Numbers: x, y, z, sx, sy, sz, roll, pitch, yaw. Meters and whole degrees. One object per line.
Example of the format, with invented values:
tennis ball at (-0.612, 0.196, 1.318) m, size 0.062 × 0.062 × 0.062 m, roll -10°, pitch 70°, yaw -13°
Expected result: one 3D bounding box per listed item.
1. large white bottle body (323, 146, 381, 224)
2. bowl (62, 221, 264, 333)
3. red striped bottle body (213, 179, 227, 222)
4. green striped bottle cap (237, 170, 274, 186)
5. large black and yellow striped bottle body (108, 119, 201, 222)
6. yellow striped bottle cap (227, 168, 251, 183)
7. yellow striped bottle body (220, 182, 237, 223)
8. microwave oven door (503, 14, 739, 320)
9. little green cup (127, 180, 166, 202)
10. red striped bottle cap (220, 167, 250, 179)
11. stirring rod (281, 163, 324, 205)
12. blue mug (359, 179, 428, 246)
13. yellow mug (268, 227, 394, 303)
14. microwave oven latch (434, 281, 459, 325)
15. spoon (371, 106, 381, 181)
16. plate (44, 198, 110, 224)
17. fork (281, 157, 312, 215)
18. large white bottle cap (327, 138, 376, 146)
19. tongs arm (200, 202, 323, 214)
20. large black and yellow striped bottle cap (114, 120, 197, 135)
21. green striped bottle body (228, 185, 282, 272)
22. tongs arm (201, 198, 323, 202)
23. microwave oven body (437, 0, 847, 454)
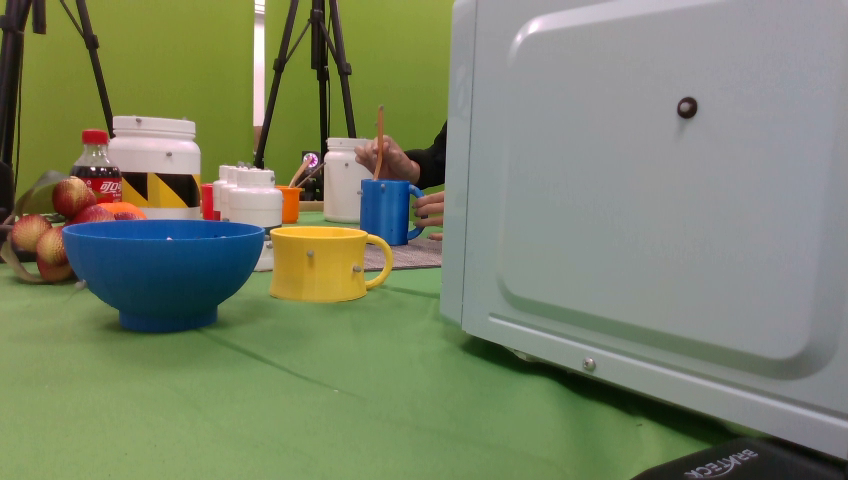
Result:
large white bottle body at (-0.163, -0.134, 1.369) m, size 0.131 × 0.184 × 0.130 m, roll 2°, pitch 8°, yaw 0°
bowl at (-0.209, 0.029, 0.496) m, size 0.151 × 0.077 × 0.151 m, roll 2°, pitch 7°, yaw 0°
red striped bottle body at (-0.284, -0.048, 0.909) m, size 0.063 × 0.119 × 0.063 m, roll 3°, pitch 10°, yaw 0°
green striped bottle cap at (-0.205, -0.075, 0.737) m, size 0.044 × 0.020 × 0.044 m, roll 1°, pitch 6°, yaw 0°
large black and yellow striped bottle body at (-0.412, -0.088, 0.930) m, size 0.131 × 0.184 × 0.130 m, roll 3°, pitch 7°, yaw 0°
yellow striped bottle cap at (-0.243, -0.087, 0.818) m, size 0.044 × 0.018 × 0.044 m, roll 3°, pitch 6°, yaw 0°
yellow striped bottle body at (-0.246, -0.036, 0.825) m, size 0.063 × 0.120 × 0.063 m, roll 3°, pitch 8°, yaw 0°
microwave oven door at (0.217, -0.065, 0.600) m, size 0.358 × 0.243 × 0.039 m, roll -4°, pitch 10°, yaw -41°
little green cup at (-0.485, -0.087, 1.062) m, size 0.061 × 0.038 × 0.061 m, roll 0°, pitch 7°, yaw 0°
red striped bottle cap at (-0.281, -0.100, 0.901) m, size 0.044 × 0.017 × 0.044 m, roll 0°, pitch 5°, yaw 0°
stirring rod at (-0.278, -0.105, 1.293) m, size 0.176 × 0.006 × 0.014 m, roll -47°, pitch 24°, yaw -18°
blue mug at (-0.050, -0.046, 1.004) m, size 0.116 × 0.106 × 0.082 m, roll 4°, pitch 8°, yaw 11°
yellow mug at (-0.094, 0.023, 0.629) m, size 0.131 × 0.064 × 0.099 m, roll 0°, pitch 6°, yaw -22°
microwave oven latch at (0.044, 0.045, 0.470) m, size 0.079 × 0.029 × 0.030 m, roll -3°, pitch 8°, yaw -39°
spoon at (-0.082, -0.127, 1.013) m, size 0.022 × 0.193 × 0.041 m, roll 7°, pitch 0°, yaw -5°
plate at (-0.617, -0.056, 1.179) m, size 0.209 × 0.038 × 0.209 m, roll 3°, pitch 7°, yaw 0°
fork at (-0.290, -0.116, 1.321) m, size 0.028 × 0.019 × 0.207 m, roll 7°, pitch 52°, yaw 18°
large white bottle cap at (-0.160, -0.218, 1.357) m, size 0.115 × 0.018 × 0.115 m, roll 2°, pitch 8°, yaw 0°
tongs arm at (-0.378, -0.079, 1.440) m, size 0.387 × 0.026 × 0.050 m, roll -4°, pitch 7°, yaw -44°
large black and yellow striped bottle cap at (-0.407, -0.171, 0.920) m, size 0.115 × 0.019 × 0.115 m, roll 2°, pitch 9°, yaw 0°
green striped bottle body at (-0.208, -0.023, 0.745) m, size 0.063 × 0.119 × 0.063 m, roll 3°, pitch 7°, yaw 0°
tongs arm at (-0.432, -0.089, 1.507) m, size 0.390 × 0.028 × 0.028 m, roll -1°, pitch 2°, yaw -30°
microwave oven body at (0.279, -0.040, 0.464) m, size 0.444 × 0.260 × 0.324 m, roll -3°, pitch 9°, yaw -41°
